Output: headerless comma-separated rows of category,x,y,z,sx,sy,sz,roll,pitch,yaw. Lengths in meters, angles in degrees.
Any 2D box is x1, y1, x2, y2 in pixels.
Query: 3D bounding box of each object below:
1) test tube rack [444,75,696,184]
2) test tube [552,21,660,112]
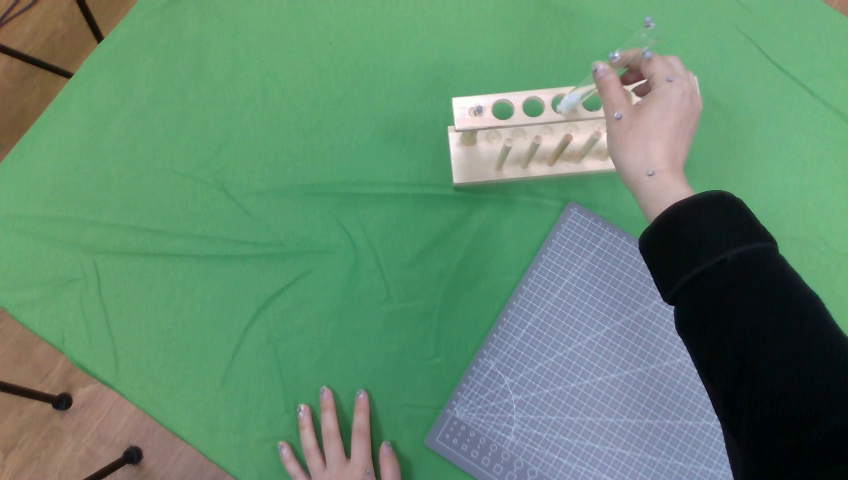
test tube rack,0.146,-0.112,0.629,0.242,0.085,0.066,-5,79,-2
test tube,0.151,-0.144,0.525,0.017,0.150,0.017,3,79,-16
